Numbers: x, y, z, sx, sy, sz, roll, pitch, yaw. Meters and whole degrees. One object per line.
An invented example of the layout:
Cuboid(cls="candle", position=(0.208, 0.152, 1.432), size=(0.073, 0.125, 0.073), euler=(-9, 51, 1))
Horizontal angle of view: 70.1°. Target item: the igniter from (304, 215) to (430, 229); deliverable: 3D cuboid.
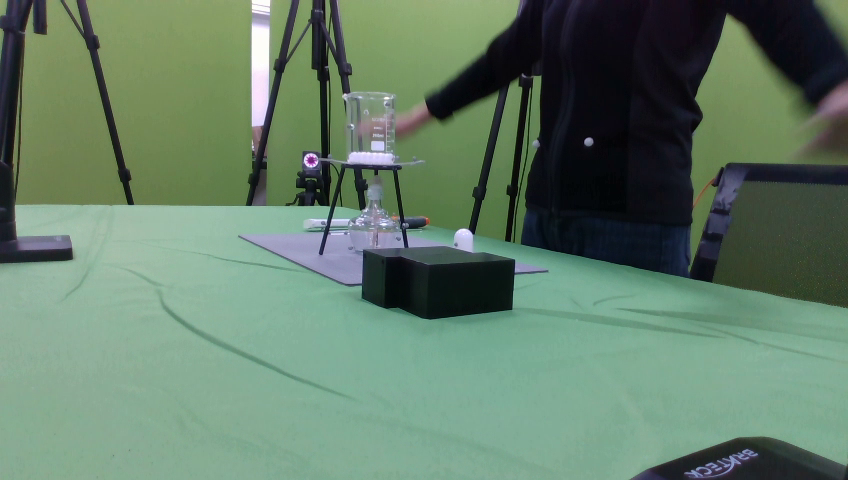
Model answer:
Cuboid(cls="igniter", position=(-0.109, -0.037, 1.228), size=(0.278, 0.025, 0.057), euler=(-3, -1, -35))

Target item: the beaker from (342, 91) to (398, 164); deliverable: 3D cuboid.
Cuboid(cls="beaker", position=(-0.079, -0.160, 0.867), size=(0.084, 0.100, 0.073), euler=(-5, 10, -34))

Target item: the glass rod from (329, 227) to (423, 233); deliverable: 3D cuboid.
Cuboid(cls="glass rod", position=(-0.087, -0.019, 1.148), size=(0.201, 0.008, 0.008), euler=(-3, 8, -32))

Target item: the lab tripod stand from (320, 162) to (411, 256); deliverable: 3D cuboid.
Cuboid(cls="lab tripod stand", position=(-0.080, -0.047, 0.879), size=(0.148, 0.131, 0.148), euler=(2, 9, 0))

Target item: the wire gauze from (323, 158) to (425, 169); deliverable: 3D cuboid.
Cuboid(cls="wire gauze", position=(-0.080, -0.112, 0.869), size=(0.122, 0.011, 0.124), euler=(-6, 12, -35))

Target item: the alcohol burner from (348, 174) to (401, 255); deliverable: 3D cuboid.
Cuboid(cls="alcohol burner", position=(-0.073, -0.037, 0.885), size=(0.078, 0.119, 0.078), euler=(2, 9, 0))

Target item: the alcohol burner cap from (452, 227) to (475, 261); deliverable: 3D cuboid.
Cuboid(cls="alcohol burner cap", position=(0.057, 0.005, 0.872), size=(0.034, 0.048, 0.034), euler=(2, 7, 0))
